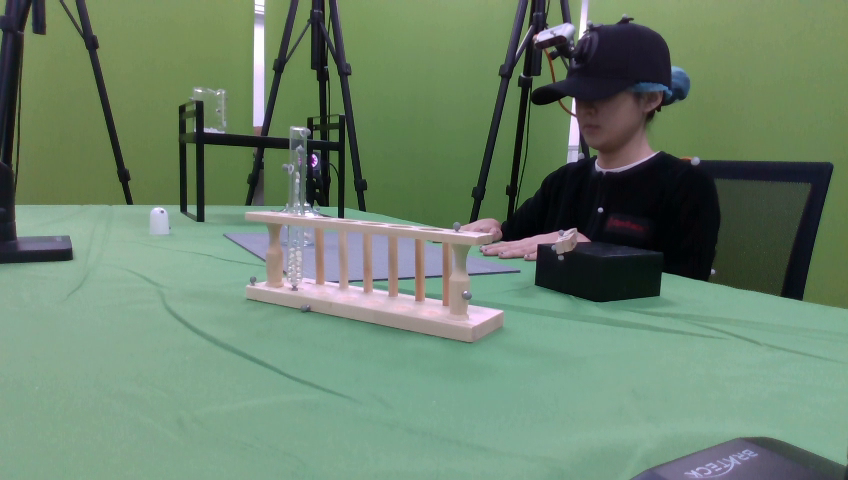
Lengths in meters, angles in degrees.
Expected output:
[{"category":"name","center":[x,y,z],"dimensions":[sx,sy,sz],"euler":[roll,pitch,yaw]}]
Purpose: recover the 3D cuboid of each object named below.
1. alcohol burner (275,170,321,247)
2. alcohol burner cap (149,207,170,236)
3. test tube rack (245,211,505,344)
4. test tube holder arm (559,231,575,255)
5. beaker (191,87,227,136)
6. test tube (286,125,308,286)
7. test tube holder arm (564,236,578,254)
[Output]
[{"category":"alcohol burner","center":[-0.199,-0.049,0.948],"dimensions":[0.078,0.119,0.078],"euler":[1,7,0]},{"category":"alcohol burner cap","center":[-0.445,-0.032,1.019],"dimensions":[0.034,0.048,0.034],"euler":[4,9,0]},{"category":"test tube rack","center":[-0.049,0.025,0.547],"dimensions":[0.241,0.085,0.067],"euler":[7,8,29]},{"category":"test tube holder arm","center":[0.170,0.002,0.714],"dimensions":[0.013,0.015,0.179],"euler":[-3,4,15]},{"category":"beaker","center":[-0.476,-0.284,1.345],"dimensions":[0.074,0.100,0.083],"euler":[-3,10,-37]},{"category":"test tube","center":[-0.118,-0.030,0.558],"dimensions":[0.017,0.150,0.017],"euler":[4,12,-1]},{"category":"test tube holder arm","center":[0.163,0.005,0.669],"dimensions":[0.010,0.015,0.088],"euler":[-2,4,17]}]
